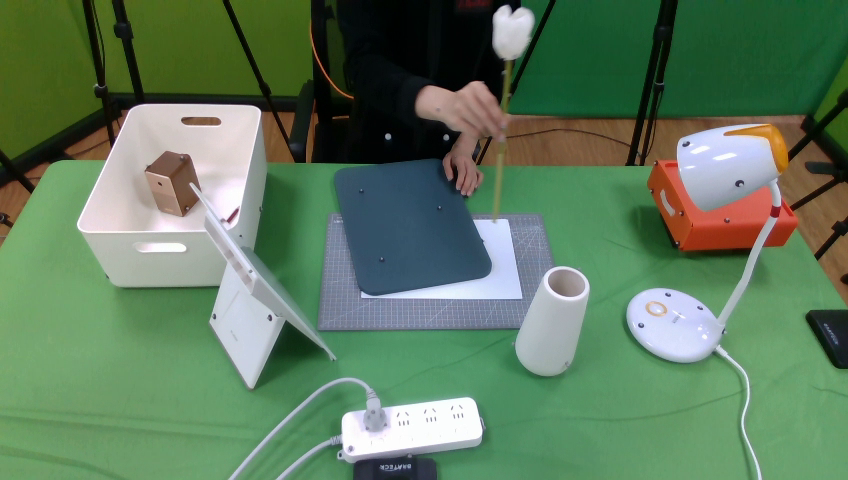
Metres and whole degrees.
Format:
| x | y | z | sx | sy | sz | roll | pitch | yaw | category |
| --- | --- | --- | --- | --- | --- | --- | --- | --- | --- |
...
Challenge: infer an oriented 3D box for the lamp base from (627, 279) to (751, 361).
| x | y | z | sx | sy | sz | roll | pitch | yaw | category |
| --- | --- | --- | --- | --- | --- | --- | --- | --- | --- |
| 0.459 | 0.100 | 1.027 | 0.178 | 0.181 | 0.160 | 27 | 51 | 17 | lamp base |

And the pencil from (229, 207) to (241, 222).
| x | y | z | sx | sy | sz | roll | pitch | yaw | category |
| --- | --- | --- | --- | --- | --- | --- | --- | --- | --- |
| -0.401 | -0.008 | 1.176 | 0.012 | 0.012 | 0.193 | 15 | 44 | 10 | pencil |

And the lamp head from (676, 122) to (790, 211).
| x | y | z | sx | sy | sz | roll | pitch | yaw | category |
| --- | --- | --- | --- | --- | --- | --- | --- | --- | --- |
| 0.423 | -0.104 | 0.819 | 0.122 | 0.113 | 0.112 | -13 | 33 | 40 | lamp head |

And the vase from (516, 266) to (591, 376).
| x | y | z | sx | sy | sz | roll | pitch | yaw | category |
| --- | --- | --- | --- | --- | --- | --- | --- | --- | --- |
| 0.208 | 0.132 | 0.964 | 0.098 | 0.201 | 0.097 | 3 | 46 | -3 | vase |

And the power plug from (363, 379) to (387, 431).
| x | y | z | sx | sy | sz | roll | pitch | yaw | category |
| --- | --- | --- | --- | --- | --- | --- | --- | --- | --- |
| -0.072 | 0.252 | 0.910 | 0.035 | 0.053 | 0.072 | 3 | 45 | -1 | power plug |

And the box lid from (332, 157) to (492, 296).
| x | y | z | sx | sy | sz | roll | pitch | yaw | category |
| --- | --- | --- | --- | --- | --- | --- | --- | --- | --- |
| -0.034 | -0.041 | 1.241 | 0.264 | 0.015 | 0.369 | -9 | 47 | -12 | box lid |

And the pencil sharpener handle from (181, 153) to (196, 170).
| x | y | z | sx | sy | sz | roll | pitch | yaw | category |
| --- | --- | --- | --- | --- | --- | --- | --- | --- | --- |
| -0.477 | -0.156 | 1.225 | 0.036 | 0.068 | 0.030 | 22 | 48 | 4 | pencil sharpener handle |

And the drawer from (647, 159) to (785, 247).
| x | y | z | sx | sy | sz | roll | pitch | yaw | category |
| --- | --- | --- | --- | --- | --- | --- | --- | --- | --- |
| 0.582 | -0.079 | 1.214 | 0.212 | 0.073 | 0.193 | -1 | 46 | -5 | drawer |

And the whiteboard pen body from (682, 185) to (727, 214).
| x | y | z | sx | sy | sz | roll | pitch | yaw | category |
| --- | --- | --- | --- | --- | --- | --- | --- | --- | --- |
| 0.571 | -0.081 | 1.237 | 0.141 | 0.017 | 0.017 | -26 | 54 | -24 | whiteboard pen body |

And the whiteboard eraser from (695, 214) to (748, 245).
| x | y | z | sx | sy | sz | roll | pitch | yaw | category |
| --- | --- | --- | --- | --- | --- | --- | --- | --- | --- |
| 0.592 | -0.019 | 1.209 | 0.113 | 0.042 | 0.055 | 11 | 27 | -36 | whiteboard eraser |

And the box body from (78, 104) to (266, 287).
| x | y | z | sx | sy | sz | roll | pitch | yaw | category |
| --- | --- | --- | --- | --- | --- | --- | --- | --- | --- |
| -0.446 | -0.088 | 1.150 | 0.254 | 0.161 | 0.361 | -1 | 46 | -5 | box body |

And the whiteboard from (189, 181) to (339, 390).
| x | y | z | sx | sy | sz | roll | pitch | yaw | category |
| --- | --- | --- | --- | --- | --- | --- | --- | --- | --- |
| -0.292 | 0.096 | 0.929 | 0.144 | 0.307 | 0.216 | -37 | 57 | -10 | whiteboard |

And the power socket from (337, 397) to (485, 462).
| x | y | z | sx | sy | sz | roll | pitch | yaw | category |
| --- | --- | --- | --- | --- | --- | --- | --- | --- | --- |
| -0.018 | 0.285 | 0.915 | 0.227 | 0.033 | 0.071 | -5 | 46 | -8 | power socket |

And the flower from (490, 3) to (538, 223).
| x | y | z | sx | sy | sz | roll | pitch | yaw | category |
| --- | --- | --- | --- | --- | --- | --- | --- | --- | --- |
| 0.110 | -0.149 | 0.839 | 0.044 | 0.363 | 0.038 | -9 | 49 | -9 | flower |

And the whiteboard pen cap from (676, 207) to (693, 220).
| x | y | z | sx | sy | sz | roll | pitch | yaw | category |
| --- | --- | --- | --- | --- | --- | --- | --- | --- | --- |
| 0.524 | -0.053 | 1.216 | 0.033 | 0.018 | 0.018 | -28 | 54 | -23 | whiteboard pen cap |

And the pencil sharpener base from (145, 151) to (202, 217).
| x | y | z | sx | sy | sz | roll | pitch | yaw | category |
| --- | --- | --- | --- | --- | --- | --- | --- | --- | --- |
| -0.491 | -0.112 | 1.199 | 0.061 | 0.107 | 0.076 | 15 | 47 | 12 | pencil sharpener base |

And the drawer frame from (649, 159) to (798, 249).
| x | y | z | sx | sy | sz | roll | pitch | yaw | category |
| --- | --- | --- | --- | --- | --- | --- | --- | --- | --- |
| 0.588 | -0.077 | 1.219 | 0.214 | 0.083 | 0.200 | -2 | 45 | -5 | drawer frame |
